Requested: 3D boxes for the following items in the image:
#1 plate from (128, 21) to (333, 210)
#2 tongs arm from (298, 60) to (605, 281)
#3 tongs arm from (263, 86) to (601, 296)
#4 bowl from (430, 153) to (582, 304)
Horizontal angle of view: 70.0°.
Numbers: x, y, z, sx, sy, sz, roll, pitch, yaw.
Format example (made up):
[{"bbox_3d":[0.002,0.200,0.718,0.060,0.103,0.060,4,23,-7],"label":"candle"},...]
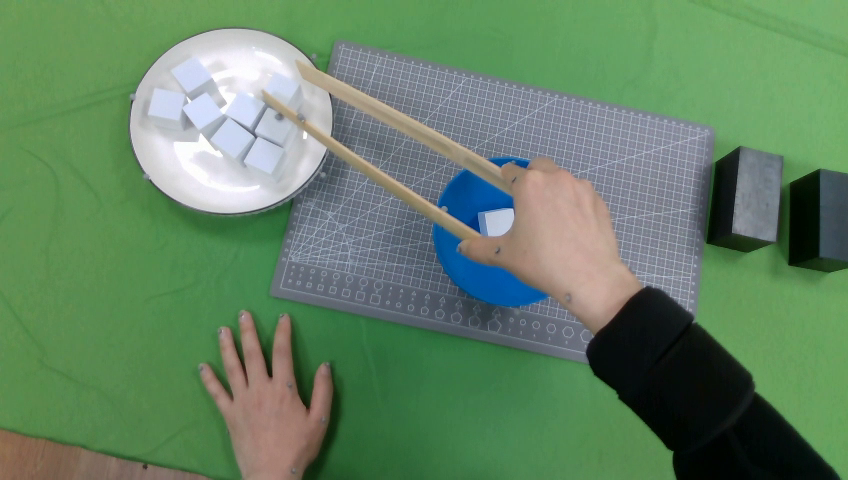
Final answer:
[{"bbox_3d":[-0.200,-0.129,0.640,0.208,0.039,0.206,1,78,-4],"label":"plate"},{"bbox_3d":[0.004,-0.082,0.542,0.028,0.028,0.384,-41,57,-22],"label":"tongs arm"},{"bbox_3d":[-0.017,-0.062,0.532,0.051,0.027,0.381,-41,58,-18],"label":"tongs arm"},{"bbox_3d":[0.077,-0.004,0.619,0.151,0.077,0.150,1,78,-5],"label":"bowl"}]
